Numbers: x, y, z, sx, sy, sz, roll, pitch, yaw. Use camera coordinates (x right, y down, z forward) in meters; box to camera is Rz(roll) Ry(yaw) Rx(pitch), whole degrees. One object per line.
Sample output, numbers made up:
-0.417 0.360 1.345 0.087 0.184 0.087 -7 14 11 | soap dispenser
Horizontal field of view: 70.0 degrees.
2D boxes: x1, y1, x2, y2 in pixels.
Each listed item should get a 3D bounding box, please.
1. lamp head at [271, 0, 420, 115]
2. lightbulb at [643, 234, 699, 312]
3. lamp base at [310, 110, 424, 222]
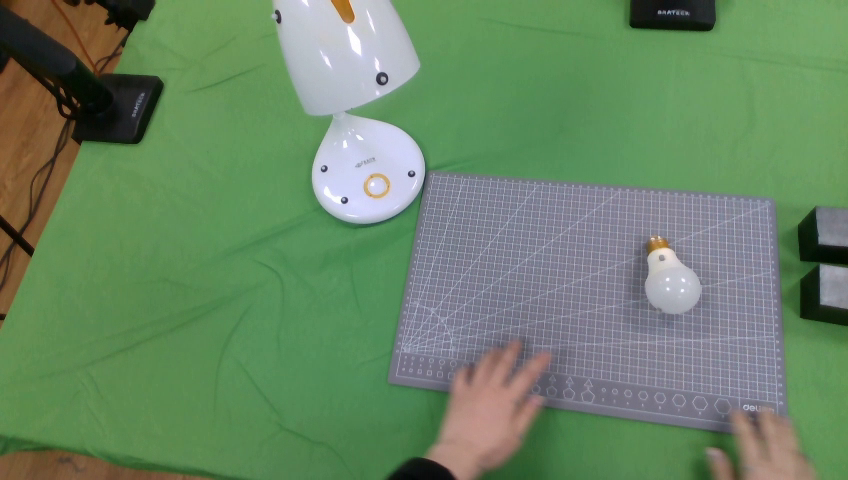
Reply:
-0.076 -0.183 0.508 0.112 0.124 0.111 -20 26 10 | lamp head
0.287 0.036 0.721 0.059 0.060 0.106 -8 51 4 | lightbulb
-0.096 -0.138 0.778 0.160 0.182 0.177 -33 64 -8 | lamp base
